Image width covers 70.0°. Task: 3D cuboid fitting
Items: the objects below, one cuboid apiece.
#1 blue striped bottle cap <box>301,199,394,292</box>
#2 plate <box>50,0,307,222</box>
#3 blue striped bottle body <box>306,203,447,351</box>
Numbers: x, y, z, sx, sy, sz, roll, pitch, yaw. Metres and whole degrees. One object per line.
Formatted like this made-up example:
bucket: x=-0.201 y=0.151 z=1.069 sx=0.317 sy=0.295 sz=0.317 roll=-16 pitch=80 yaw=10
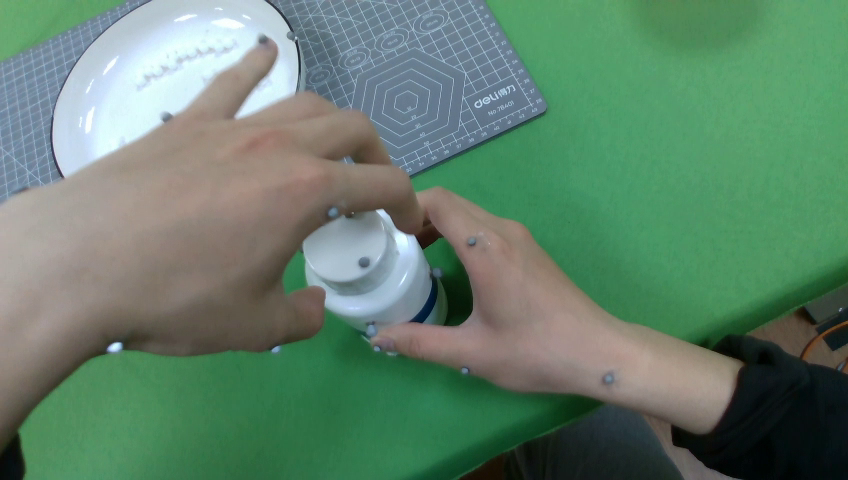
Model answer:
blue striped bottle cap: x=-0.038 y=0.003 z=0.303 sx=0.044 sy=0.021 sz=0.044 roll=-4 pitch=67 yaw=9
plate: x=-0.187 y=-0.106 z=0.476 sx=0.207 sy=0.039 sz=0.206 roll=-4 pitch=68 yaw=10
blue striped bottle body: x=-0.026 y=0.021 z=0.349 sx=0.063 sy=0.122 sz=0.062 roll=-4 pitch=67 yaw=10
